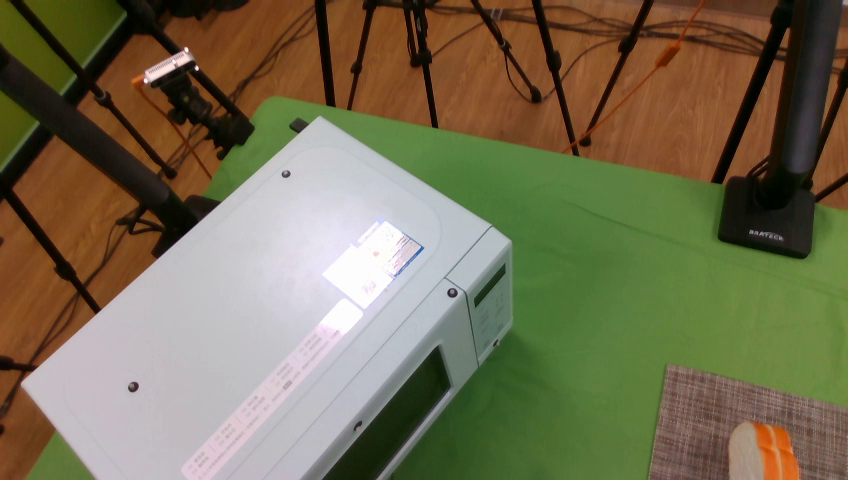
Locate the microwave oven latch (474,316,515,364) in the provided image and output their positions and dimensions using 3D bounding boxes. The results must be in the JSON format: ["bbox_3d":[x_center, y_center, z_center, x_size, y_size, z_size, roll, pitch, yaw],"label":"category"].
[{"bbox_3d":[0.089,0.126,0.809,0.030,0.030,0.079,37,72,24],"label":"microwave oven latch"}]

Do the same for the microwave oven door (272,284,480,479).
[{"bbox_3d":[-0.069,0.227,0.655,0.039,0.246,0.355,34,70,25],"label":"microwave oven door"}]

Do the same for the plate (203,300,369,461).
[{"bbox_3d":[-0.171,0.177,0.770,0.207,0.039,0.205,-2,58,3],"label":"plate"}]

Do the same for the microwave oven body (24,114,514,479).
[{"bbox_3d":[-0.150,0.125,0.732,0.323,0.262,0.441,35,71,24],"label":"microwave oven body"}]

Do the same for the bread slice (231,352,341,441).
[{"bbox_3d":[-0.173,0.203,0.763,0.134,0.018,0.106,-8,58,-8],"label":"bread slice"}]
